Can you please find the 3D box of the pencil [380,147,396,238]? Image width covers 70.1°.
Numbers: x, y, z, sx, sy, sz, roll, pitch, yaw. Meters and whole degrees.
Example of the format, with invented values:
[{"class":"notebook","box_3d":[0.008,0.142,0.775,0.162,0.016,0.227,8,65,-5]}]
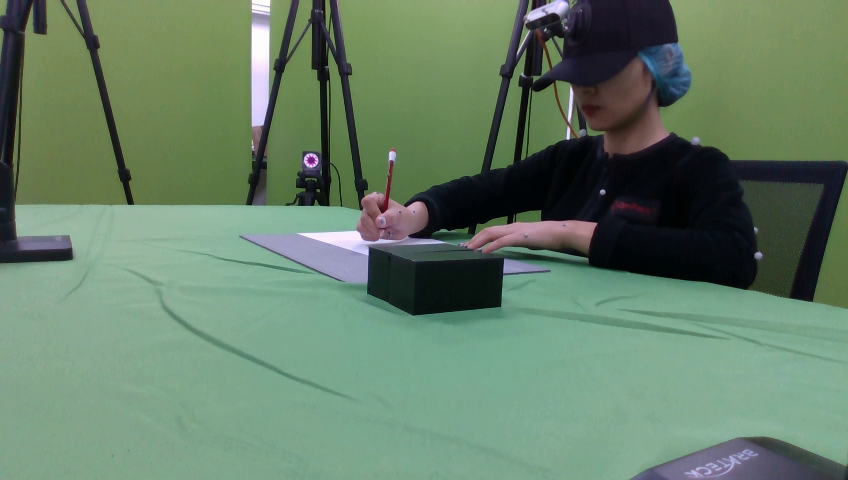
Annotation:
[{"class":"pencil","box_3d":[-0.059,-0.079,0.969,0.012,0.193,0.012,3,-38,2]}]
